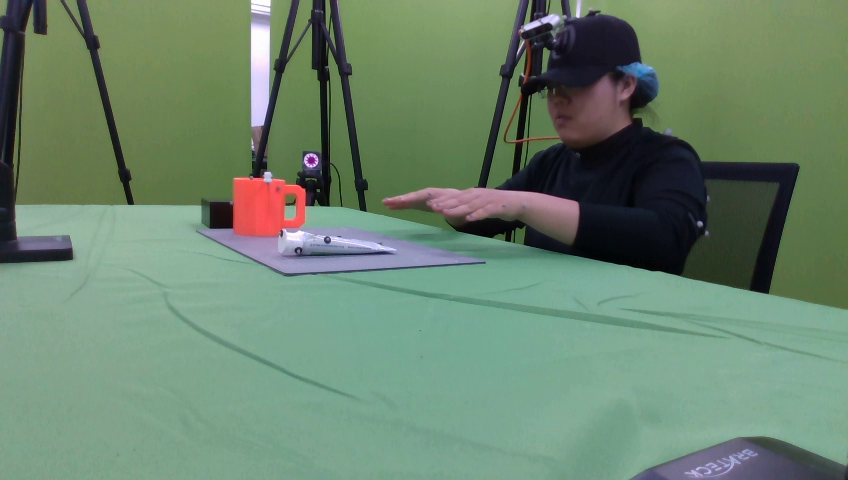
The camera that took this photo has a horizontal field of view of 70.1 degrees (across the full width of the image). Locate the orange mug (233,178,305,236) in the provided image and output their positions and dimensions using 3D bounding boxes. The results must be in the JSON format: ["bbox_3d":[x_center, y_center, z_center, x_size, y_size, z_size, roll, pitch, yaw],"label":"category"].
[{"bbox_3d":[-0.273,-0.061,1.067,0.127,0.101,0.083,-5,10,-24],"label":"orange mug"}]

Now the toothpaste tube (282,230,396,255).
[{"bbox_3d":[-0.123,0.006,0.867,0.166,0.034,0.055,4,9,-34],"label":"toothpaste tube"}]

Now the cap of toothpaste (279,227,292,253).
[{"bbox_3d":[-0.189,0.001,0.826,0.011,0.037,0.037,6,4,-30],"label":"cap of toothpaste"}]

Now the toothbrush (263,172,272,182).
[{"bbox_3d":[-0.273,-0.112,1.055,0.014,0.016,0.181,-8,10,-13],"label":"toothbrush"}]
